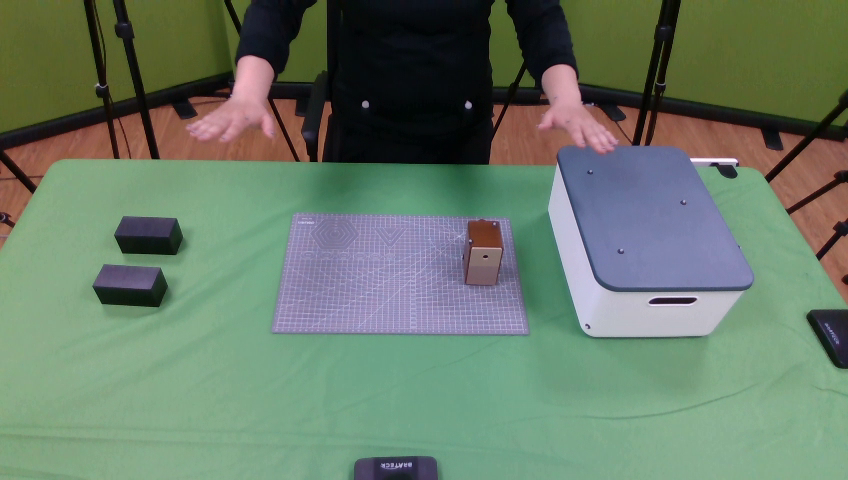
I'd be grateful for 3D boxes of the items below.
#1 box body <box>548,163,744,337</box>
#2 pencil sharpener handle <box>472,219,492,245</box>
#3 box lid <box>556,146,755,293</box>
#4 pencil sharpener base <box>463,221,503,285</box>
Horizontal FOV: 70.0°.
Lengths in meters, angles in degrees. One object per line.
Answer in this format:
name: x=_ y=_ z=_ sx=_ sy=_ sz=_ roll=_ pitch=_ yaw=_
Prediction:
box body: x=0.391 y=-0.001 z=1.130 sx=0.254 sy=0.161 sz=0.361 roll=-1 pitch=46 yaw=-4
pencil sharpener handle: x=0.103 y=-0.022 z=1.145 sx=0.036 sy=0.068 sz=0.030 roll=10 pitch=44 yaw=-11
box lid: x=0.394 y=-0.051 z=1.075 sx=0.263 sy=0.015 sz=0.369 roll=0 pitch=46 yaw=-4
pencil sharpener base: x=0.107 y=0.023 z=1.119 sx=0.061 sy=0.107 sz=0.076 roll=1 pitch=45 yaw=-2
